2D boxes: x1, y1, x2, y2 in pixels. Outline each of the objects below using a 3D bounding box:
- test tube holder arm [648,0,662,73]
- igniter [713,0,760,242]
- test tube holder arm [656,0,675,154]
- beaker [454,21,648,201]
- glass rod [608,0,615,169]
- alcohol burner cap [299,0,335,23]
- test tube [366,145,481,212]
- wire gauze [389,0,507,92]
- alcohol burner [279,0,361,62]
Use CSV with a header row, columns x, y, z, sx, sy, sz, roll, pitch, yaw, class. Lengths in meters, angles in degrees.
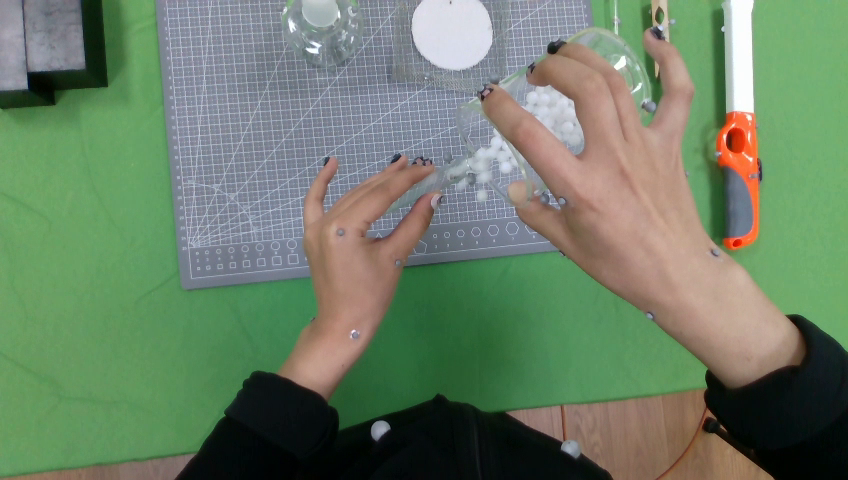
x,y,z,sx,sy,sz,roll,pitch,yaw,class
0.253,-0.227,0.662,0.010,0.015,0.087,-5,88,29,test tube holder arm
0.341,-0.135,0.662,0.057,0.025,0.276,2,87,-17,igniter
0.261,-0.182,0.657,0.013,0.015,0.178,-6,87,29,test tube holder arm
0.079,-0.081,0.378,0.100,0.083,0.074,-34,98,-9,beaker
0.204,-0.177,0.656,0.008,0.008,0.199,0,90,-7,glass rod
-0.095,-0.217,0.531,0.034,0.048,0.033,1,81,-7,alcohol burner cap
-0.006,-0.044,0.468,0.017,0.150,0.017,7,76,-32,test tube
0.028,-0.224,0.635,0.125,0.011,0.121,5,88,-8,wire gauze
-0.098,-0.213,0.566,0.078,0.119,0.078,0,87,-4,alcohol burner
